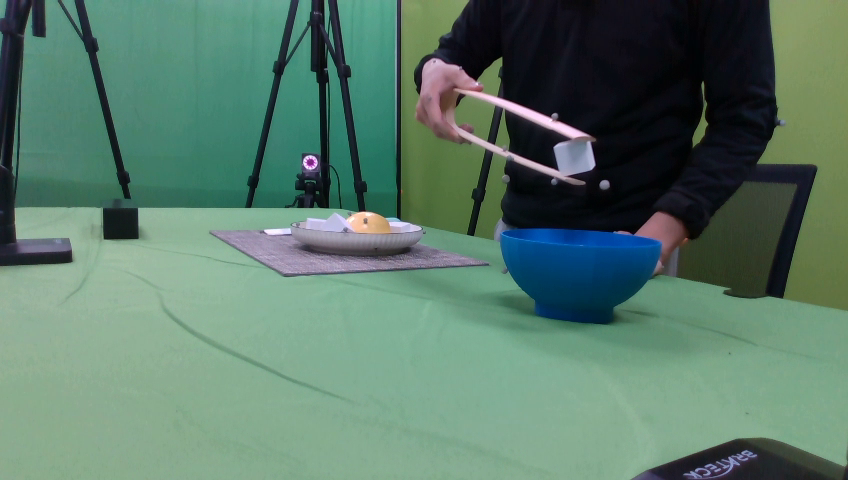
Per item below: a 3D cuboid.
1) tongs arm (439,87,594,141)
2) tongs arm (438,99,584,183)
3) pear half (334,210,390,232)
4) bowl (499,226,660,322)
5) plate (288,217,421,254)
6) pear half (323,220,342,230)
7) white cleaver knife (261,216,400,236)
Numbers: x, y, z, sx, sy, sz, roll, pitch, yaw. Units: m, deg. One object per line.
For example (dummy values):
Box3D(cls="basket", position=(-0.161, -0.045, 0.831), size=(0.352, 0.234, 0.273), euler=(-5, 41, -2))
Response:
Box3D(cls="tongs arm", position=(0.095, -0.161, 0.754), size=(0.028, 0.028, 0.386), euler=(-2, 21, -18))
Box3D(cls="tongs arm", position=(0.091, -0.136, 0.762), size=(0.026, 0.050, 0.383), euler=(2, 16, -20))
Box3D(cls="pear half", position=(-0.107, -0.017, 0.920), size=(0.110, 0.056, 0.076), euler=(-5, 5, -20))
Box3D(cls="bowl", position=(0.145, 0.032, 0.583), size=(0.151, 0.077, 0.151), euler=(2, 7, 0))
Box3D(cls="plate", position=(-0.109, -0.007, 0.956), size=(0.208, 0.039, 0.207), euler=(2, 7, 0))
Box3D(cls="pear half", position=(-0.127, -0.019, 1.001), size=(0.088, 0.031, 0.070), euler=(8, 4, 0))
Box3D(cls="white cleaver knife", position=(-0.169, -0.021, 1.156), size=(0.288, 0.021, 0.065), euler=(-7, 20, -33))
